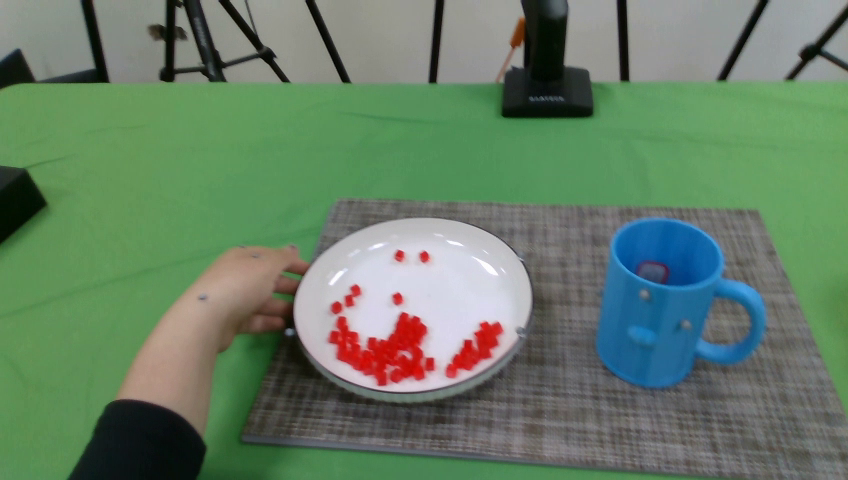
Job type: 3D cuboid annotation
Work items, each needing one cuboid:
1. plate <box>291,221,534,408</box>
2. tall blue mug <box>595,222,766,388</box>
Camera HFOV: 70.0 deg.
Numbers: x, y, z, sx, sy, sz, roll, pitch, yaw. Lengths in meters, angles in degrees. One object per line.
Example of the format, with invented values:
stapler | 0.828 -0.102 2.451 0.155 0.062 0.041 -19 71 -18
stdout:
plate | -0.009 0.061 0.529 0.207 0.039 0.205 -3 40 3
tall blue mug | 0.193 0.051 0.465 0.107 0.109 0.077 -2 40 4
